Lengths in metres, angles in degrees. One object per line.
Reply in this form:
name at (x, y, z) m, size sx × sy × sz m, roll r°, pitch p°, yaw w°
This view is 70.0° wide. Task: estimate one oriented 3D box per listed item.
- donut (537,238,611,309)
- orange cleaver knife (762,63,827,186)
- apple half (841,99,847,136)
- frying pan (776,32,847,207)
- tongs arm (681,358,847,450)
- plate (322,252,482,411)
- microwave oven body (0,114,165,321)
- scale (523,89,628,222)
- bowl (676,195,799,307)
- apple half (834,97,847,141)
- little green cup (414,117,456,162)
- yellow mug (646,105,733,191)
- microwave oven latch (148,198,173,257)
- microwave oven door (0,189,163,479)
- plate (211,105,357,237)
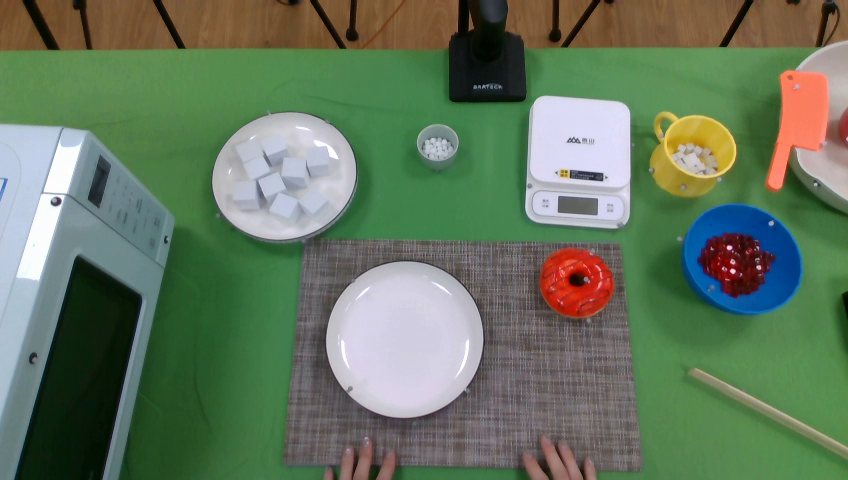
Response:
donut at (0.201, 0.045, 0.818) m, size 0.099 × 0.048 × 0.098 m, roll -1°, pitch 71°, yaw 2°
orange cleaver knife at (0.517, -0.164, 0.843) m, size 0.077 × 0.012 × 0.210 m, roll 18°, pitch 72°, yaw 8°
apple half at (0.657, -0.180, 0.878) m, size 0.053 × 0.075 × 0.080 m, roll -7°, pitch 66°, yaw -5°
frying pan at (0.695, -0.082, 0.831) m, size 0.307 × 0.103 × 0.483 m, roll -25°, pitch 64°, yaw -7°
tongs arm at (0.504, 0.251, 0.754) m, size 0.386 × 0.028 × 0.028 m, roll 29°, pitch 65°, yaw 11°
plate at (-0.028, 0.119, 0.797) m, size 0.209 × 0.038 × 0.207 m, roll 0°, pitch 71°, yaw 1°
microwave oven body at (-0.530, 0.106, 0.688) m, size 0.326 × 0.261 × 0.439 m, roll 3°, pitch 71°, yaw 1°
scale at (0.224, -0.127, 0.890) m, size 0.148 × 0.032 × 0.199 m, roll 5°, pitch 71°, yaw 3°
bowl at (0.404, 0.024, 0.811) m, size 0.151 × 0.077 × 0.150 m, roll 0°, pitch 71°, yaw 1°
apple half at (0.619, -0.175, 0.875) m, size 0.033 × 0.082 × 0.080 m, roll -7°, pitch 70°, yaw -6°
little green cup at (0.016, -0.146, 0.896) m, size 0.061 × 0.039 × 0.061 m, roll 0°, pitch 70°, yaw 1°
yellow mug at (0.372, -0.142, 0.876) m, size 0.100 × 0.064 × 0.130 m, roll -30°, pitch 72°, yaw -9°
microwave oven latch at (-0.369, -0.018, 0.833) m, size 0.030 × 0.029 × 0.078 m, roll 5°, pitch 71°, yaw 2°
microwave oven door at (-0.387, 0.152, 0.665) m, size 0.039 × 0.245 × 0.353 m, roll 3°, pitch 70°, yaw 2°
plate at (-0.200, -0.098, 0.881) m, size 0.208 × 0.039 × 0.206 m, roll 0°, pitch 70°, yaw 0°
